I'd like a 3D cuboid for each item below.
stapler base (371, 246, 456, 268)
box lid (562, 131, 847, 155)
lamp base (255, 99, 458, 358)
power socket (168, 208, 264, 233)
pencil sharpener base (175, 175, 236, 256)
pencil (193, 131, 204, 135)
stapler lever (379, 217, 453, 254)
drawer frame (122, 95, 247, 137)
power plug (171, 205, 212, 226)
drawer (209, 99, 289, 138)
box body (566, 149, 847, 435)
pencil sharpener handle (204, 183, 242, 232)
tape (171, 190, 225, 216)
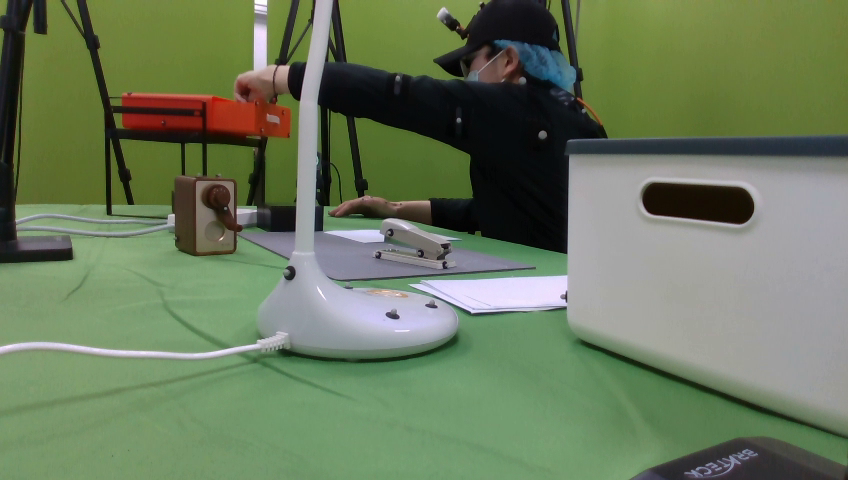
[{"bbox_3d":[-0.017,0.017,0.831,0.130,0.024,0.041,10,12,39],"label":"stapler base"},{"bbox_3d":[0.322,-0.064,0.463,0.373,0.015,0.262,-2,9,-31],"label":"box lid"},{"bbox_3d":[-0.056,-0.013,0.462,0.160,0.180,0.180,6,11,27],"label":"lamp base"},{"bbox_3d":[-0.382,-0.038,1.129,0.072,0.032,0.227,4,8,17],"label":"power socket"},{"bbox_3d":[-0.305,-0.036,0.847,0.062,0.107,0.076,-4,10,-42],"label":"pencil sharpener base"},{"bbox_3d":[-0.425,-0.252,1.348,0.012,0.012,0.195,8,21,38],"label":"pencil"},{"bbox_3d":[-0.014,-0.007,0.828,0.117,0.040,0.027,9,11,39],"label":"stapler lever"},{"bbox_3d":[-0.526,-0.281,1.376,0.213,0.082,0.202,3,8,8],"label":"drawer frame"},{"bbox_3d":[-0.455,-0.040,1.196,0.052,0.035,0.072,1,43,24],"label":"power plug"},{"bbox_3d":[-0.434,-0.273,1.364,0.211,0.073,0.195,2,8,9],"label":"drawer"},{"bbox_3d":[0.317,0.009,0.471,0.366,0.160,0.253,-2,8,-31],"label":"box body"},{"bbox_3d":[-0.265,-0.043,0.813,0.036,0.068,0.030,-32,28,-35],"label":"pencil sharpener handle"},{"bbox_3d":[-0.517,-0.086,1.389,0.117,0.052,0.117,4,7,0],"label":"tape"}]
